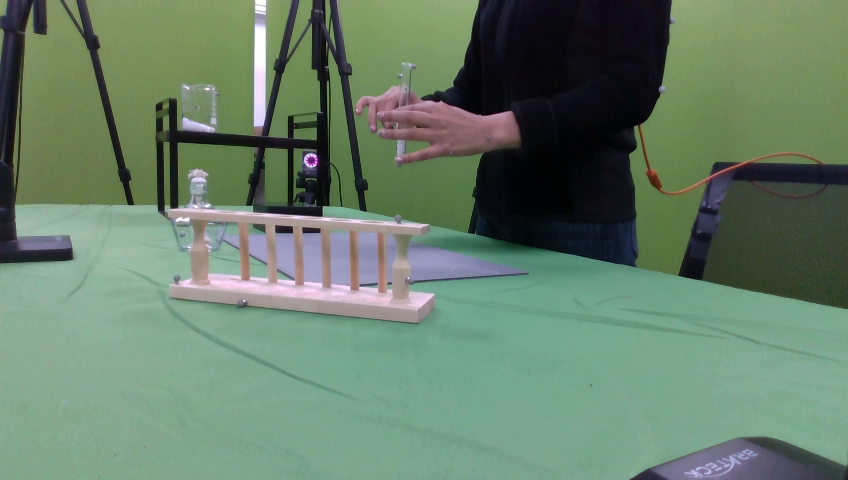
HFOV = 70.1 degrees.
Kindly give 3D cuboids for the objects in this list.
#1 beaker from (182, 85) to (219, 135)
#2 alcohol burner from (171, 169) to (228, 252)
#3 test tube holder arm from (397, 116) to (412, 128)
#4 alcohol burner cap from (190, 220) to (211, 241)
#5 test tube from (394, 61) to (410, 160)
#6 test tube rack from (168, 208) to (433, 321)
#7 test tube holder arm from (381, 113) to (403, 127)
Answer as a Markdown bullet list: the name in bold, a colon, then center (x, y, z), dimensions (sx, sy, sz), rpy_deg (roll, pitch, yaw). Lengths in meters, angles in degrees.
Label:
- **beaker**: center (-0.479, -0.276, 1.291), dimensions (0.074, 0.100, 0.084), rpy_deg (2, 8, -1)
- **alcohol burner**: center (-0.325, -0.042, 0.875), dimensions (0.078, 0.119, 0.078), rpy_deg (0, 7, 0)
- **test tube holder arm**: center (-0.037, -0.188, 0.959), dimensions (0.010, 0.015, 0.087), rpy_deg (2, 14, -21)
- **alcohol burner cap**: center (-0.365, -0.023, 0.988), dimensions (0.034, 0.048, 0.034), rpy_deg (2, 8, 0)
- **test tube**: center (-0.034, -0.198, 0.933), dimensions (0.017, 0.150, 0.017), rpy_deg (4, 14, -1)
- **test tube rack**: center (-0.115, 0.017, 0.574), dimensions (0.242, 0.085, 0.067), rpy_deg (4, 8, 13)
- **test tube holder arm**: center (-0.055, -0.200, 0.999), dimensions (0.013, 0.015, 0.178), rpy_deg (4, 13, -15)
